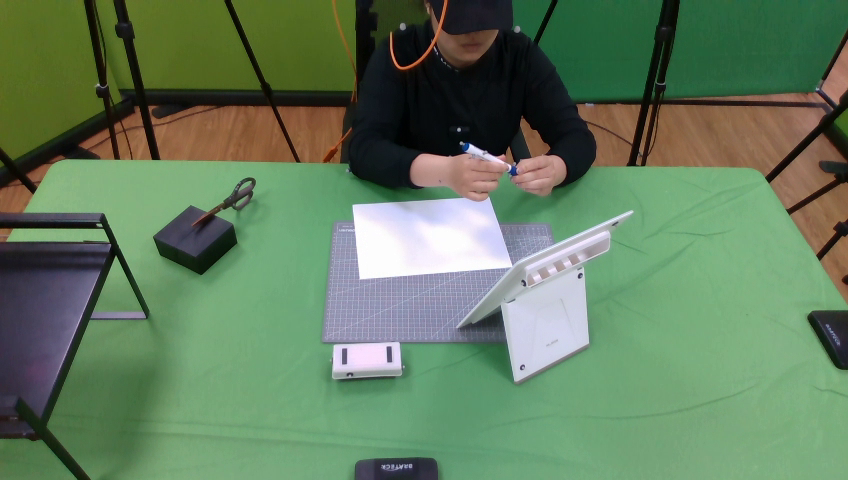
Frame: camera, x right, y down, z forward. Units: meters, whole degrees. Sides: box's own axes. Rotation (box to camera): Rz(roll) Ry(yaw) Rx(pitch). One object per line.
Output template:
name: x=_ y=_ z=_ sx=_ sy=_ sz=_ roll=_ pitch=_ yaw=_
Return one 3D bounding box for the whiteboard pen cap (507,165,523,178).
whiteboard pen cap: x=0.169 y=-0.129 z=1.137 sx=0.033 sy=0.018 sz=0.018 roll=14 pitch=35 yaw=-40

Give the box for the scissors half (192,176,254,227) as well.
scissors half: x=-0.388 y=-0.075 z=1.174 sx=0.013 sy=0.040 sz=0.174 roll=29 pitch=47 yaw=8

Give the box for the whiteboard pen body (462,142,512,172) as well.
whiteboard pen body: x=0.123 y=-0.146 z=1.103 sx=0.141 sy=0.017 sz=0.017 roll=21 pitch=36 yaw=-35

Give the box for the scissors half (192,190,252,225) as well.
scissors half: x=-0.393 y=-0.060 z=1.187 sx=0.013 sy=0.040 sz=0.175 roll=25 pitch=29 yaw=12

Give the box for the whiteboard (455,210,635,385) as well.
whiteboard: x=0.210 y=0.111 z=0.955 sx=0.217 sy=0.306 sz=0.143 roll=-21 pitch=72 yaw=-23

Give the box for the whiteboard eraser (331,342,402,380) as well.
whiteboard eraser: x=-0.094 y=0.198 z=0.986 sx=0.113 sy=0.042 sz=0.055 roll=-2 pitch=44 yaw=-6
